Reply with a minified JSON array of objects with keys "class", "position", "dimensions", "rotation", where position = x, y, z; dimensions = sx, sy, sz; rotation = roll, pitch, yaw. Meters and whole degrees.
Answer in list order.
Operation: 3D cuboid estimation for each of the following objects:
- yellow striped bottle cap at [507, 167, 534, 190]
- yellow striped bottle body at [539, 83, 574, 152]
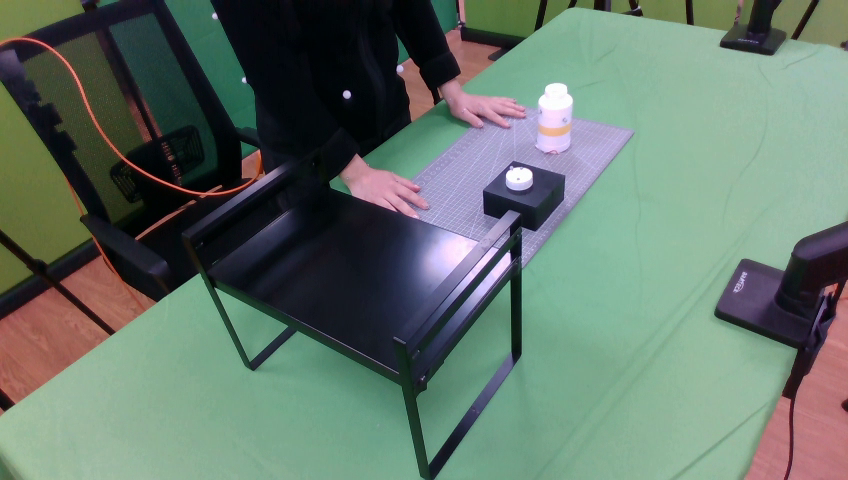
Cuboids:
[{"class":"yellow striped bottle cap","position":[0.159,-0.102,0.995],"dimensions":[0.044,0.019,0.044],"rotation":[-6,39,5]},{"class":"yellow striped bottle body","position":[0.246,-0.230,1.127],"dimensions":[0.063,0.121,0.062],"rotation":[-5,41,5]}]
